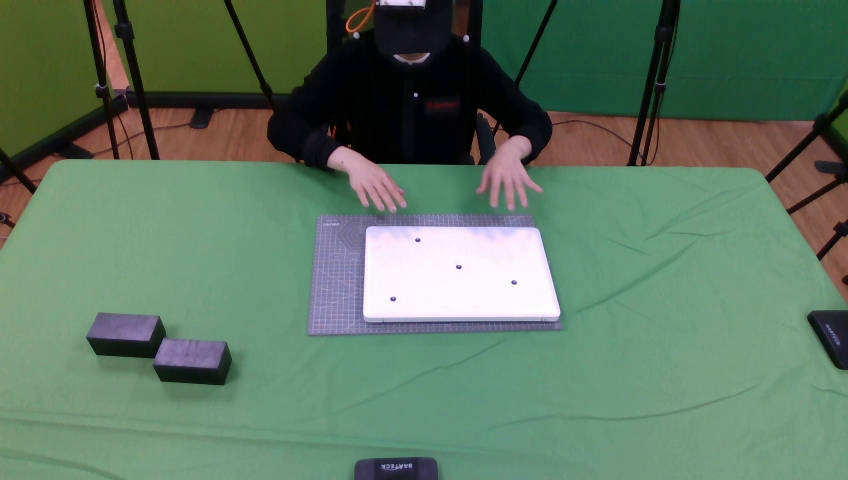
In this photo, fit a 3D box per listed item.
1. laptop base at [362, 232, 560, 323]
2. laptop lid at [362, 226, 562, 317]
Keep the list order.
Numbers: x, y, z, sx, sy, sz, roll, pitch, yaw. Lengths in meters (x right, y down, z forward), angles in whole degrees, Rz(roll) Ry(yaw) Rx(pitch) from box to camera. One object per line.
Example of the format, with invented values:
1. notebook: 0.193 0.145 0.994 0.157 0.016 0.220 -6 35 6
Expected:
1. laptop base: 0.064 0.063 1.143 0.355 0.023 0.234 0 43 -4
2. laptop lid: 0.064 0.053 1.136 0.357 0.013 0.240 1 44 -3
